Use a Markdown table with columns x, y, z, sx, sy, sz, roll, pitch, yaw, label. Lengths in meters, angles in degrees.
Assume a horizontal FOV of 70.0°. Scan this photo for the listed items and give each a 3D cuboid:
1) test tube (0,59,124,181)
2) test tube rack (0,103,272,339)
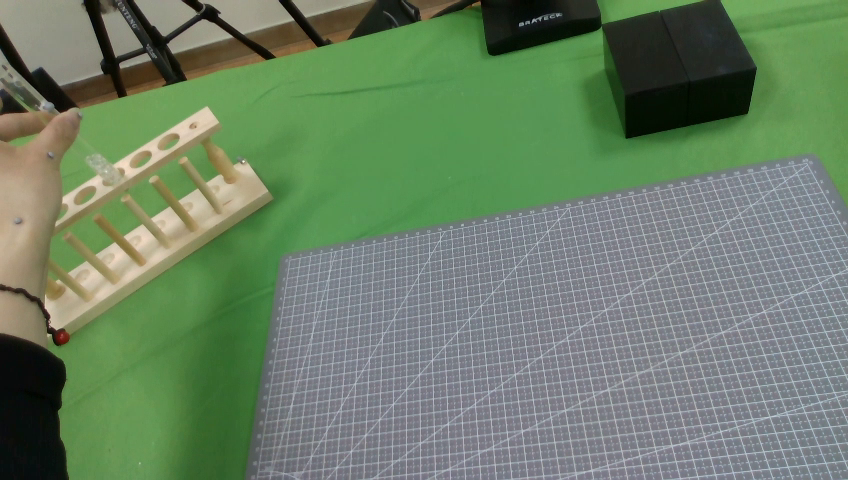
| x | y | z | sx | sy | sz | roll | pitch | yaw | label |
| --- | --- | --- | --- | --- | --- | --- | --- | --- | --- |
| -0.290 | -0.089 | 0.496 | 0.017 | 0.151 | 0.017 | -4 | 62 | 8 | test tube |
| -0.277 | -0.019 | 0.572 | 0.242 | 0.086 | 0.066 | -35 | 52 | -9 | test tube rack |
